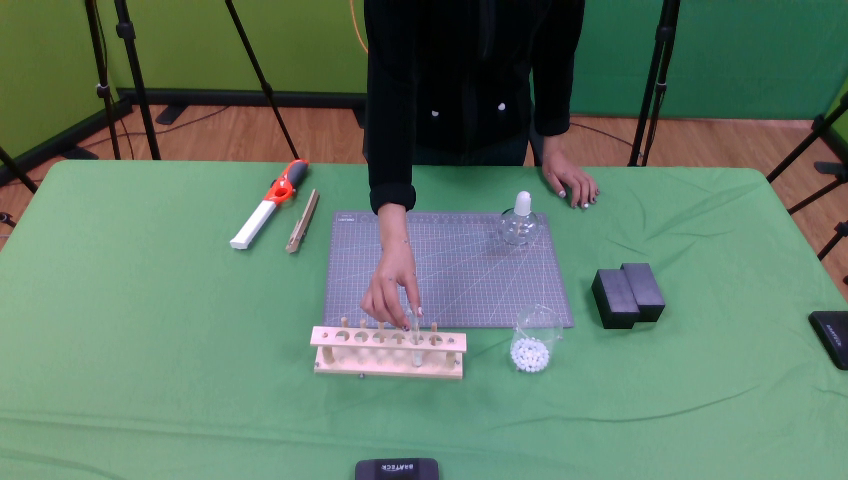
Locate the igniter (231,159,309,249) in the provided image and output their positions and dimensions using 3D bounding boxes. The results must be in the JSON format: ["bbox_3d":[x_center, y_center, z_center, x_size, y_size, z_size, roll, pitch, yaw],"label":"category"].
[{"bbox_3d":[-0.313,-0.082,1.251,0.057,0.025,0.275,8,45,18],"label":"igniter"}]

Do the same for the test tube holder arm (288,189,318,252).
[{"bbox_3d":[-0.242,-0.043,1.223,0.013,0.015,0.177,-15,39,25],"label":"test tube holder arm"}]

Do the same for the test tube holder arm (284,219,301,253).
[{"bbox_3d":[-0.254,-0.010,1.194,0.010,0.015,0.087,-14,39,26],"label":"test tube holder arm"}]

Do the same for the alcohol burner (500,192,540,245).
[{"bbox_3d":[0.190,-0.048,1.190,0.078,0.120,0.077,1,47,-1],"label":"alcohol burner"}]

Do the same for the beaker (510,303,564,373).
[{"bbox_3d":[0.182,0.164,1.000,0.074,0.101,0.083,2,45,-1],"label":"beaker"}]

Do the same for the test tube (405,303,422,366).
[{"bbox_3d":[-0.015,0.150,0.939,0.017,0.151,0.017,-2,45,3],"label":"test tube"}]

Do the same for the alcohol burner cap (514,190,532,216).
[{"bbox_3d":[0.192,-0.074,1.166,0.034,0.048,0.033,1,40,-1],"label":"alcohol burner cap"}]

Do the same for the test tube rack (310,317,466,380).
[{"bbox_3d":[-0.056,0.171,0.986,0.242,0.085,0.066,3,45,-1],"label":"test tube rack"}]
